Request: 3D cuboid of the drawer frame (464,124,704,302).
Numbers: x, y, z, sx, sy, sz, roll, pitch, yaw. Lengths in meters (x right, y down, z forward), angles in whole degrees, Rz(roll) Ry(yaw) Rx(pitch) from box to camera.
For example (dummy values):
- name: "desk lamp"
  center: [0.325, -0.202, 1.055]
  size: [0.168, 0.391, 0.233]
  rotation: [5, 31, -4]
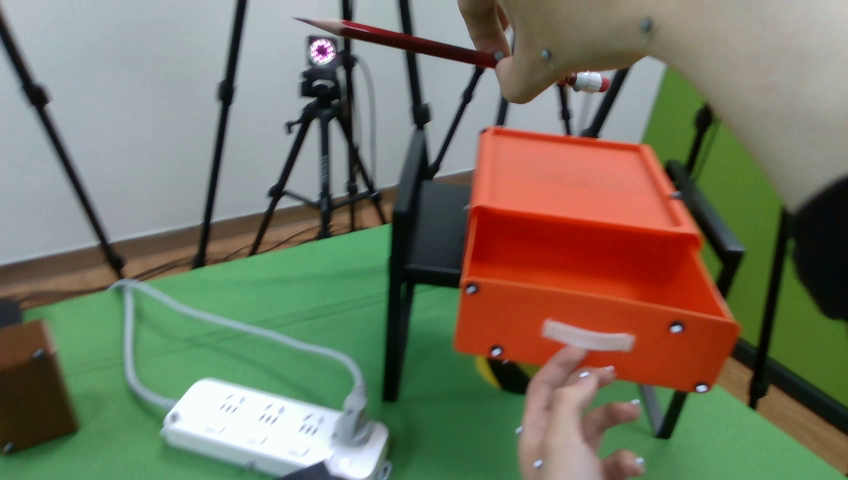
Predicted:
- name: "drawer frame"
  center: [0.149, -0.038, 0.623]
  size: [0.201, 0.083, 0.212]
  rotation: [7, 30, 3]

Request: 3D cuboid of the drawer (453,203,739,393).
- name: "drawer"
  center: [0.134, 0.023, 0.524]
  size: [0.194, 0.074, 0.210]
  rotation: [9, 30, 4]

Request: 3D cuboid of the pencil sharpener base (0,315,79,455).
- name: "pencil sharpener base"
  center: [-0.377, 0.136, 0.563]
  size: [0.077, 0.108, 0.060]
  rotation: [-17, 38, -32]

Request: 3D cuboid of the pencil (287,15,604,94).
- name: "pencil"
  center: [0.024, -0.093, 0.308]
  size: [0.195, 0.012, 0.012]
  rotation: [1, 29, -33]

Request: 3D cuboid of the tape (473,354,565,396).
- name: "tape"
  center: [0.118, 0.127, 0.723]
  size: [0.117, 0.053, 0.116]
  rotation: [5, 32, -3]

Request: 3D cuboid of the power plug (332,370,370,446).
- name: "power plug"
  center: [-0.061, 0.170, 0.590]
  size: [0.035, 0.053, 0.072]
  rotation: [18, 34, 19]

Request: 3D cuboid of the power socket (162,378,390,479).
- name: "power socket"
  center: [-0.142, 0.189, 0.590]
  size: [0.226, 0.033, 0.072]
  rotation: [12, 31, 10]
